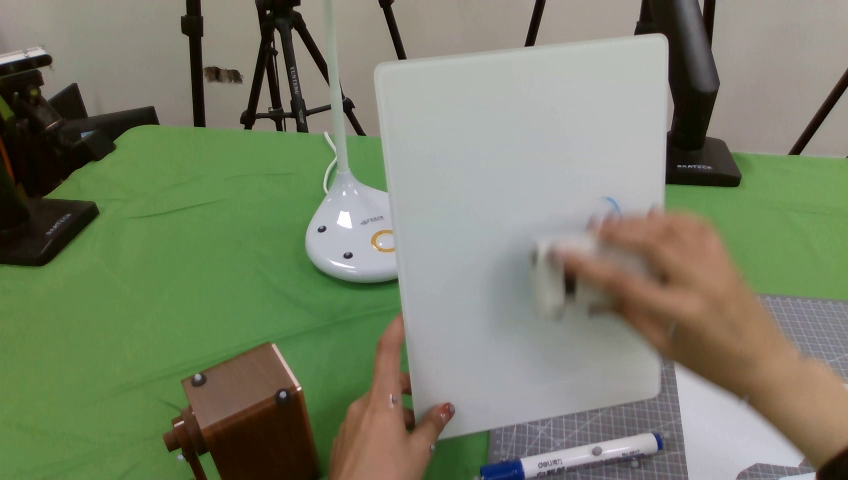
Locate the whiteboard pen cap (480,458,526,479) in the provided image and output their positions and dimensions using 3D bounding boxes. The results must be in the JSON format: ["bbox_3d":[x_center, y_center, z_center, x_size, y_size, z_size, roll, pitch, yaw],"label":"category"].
[{"bbox_3d":[0.061,0.178,0.464,0.033,0.018,0.018,-8,37,-8],"label":"whiteboard pen cap"}]

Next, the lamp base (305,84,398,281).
[{"bbox_3d":[-0.070,-0.072,0.679,0.161,0.182,0.177,-27,41,-29],"label":"lamp base"}]

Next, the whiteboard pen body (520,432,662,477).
[{"bbox_3d":[0.118,0.169,0.472,0.141,0.017,0.017,-8,37,-8],"label":"whiteboard pen body"}]

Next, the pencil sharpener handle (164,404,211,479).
[{"bbox_3d":[-0.171,0.150,0.423,0.031,0.068,0.035,-22,29,-24],"label":"pencil sharpener handle"}]

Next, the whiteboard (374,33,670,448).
[{"bbox_3d":[0.077,-0.008,0.531,0.217,0.307,0.143,-8,18,-7],"label":"whiteboard"}]

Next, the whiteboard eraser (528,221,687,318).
[{"bbox_3d":[0.133,0.021,0.443,0.113,0.056,0.041,-9,13,-10],"label":"whiteboard eraser"}]

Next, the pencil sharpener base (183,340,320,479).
[{"bbox_3d":[-0.129,0.141,0.455,0.077,0.108,0.060,-22,42,-24],"label":"pencil sharpener base"}]
